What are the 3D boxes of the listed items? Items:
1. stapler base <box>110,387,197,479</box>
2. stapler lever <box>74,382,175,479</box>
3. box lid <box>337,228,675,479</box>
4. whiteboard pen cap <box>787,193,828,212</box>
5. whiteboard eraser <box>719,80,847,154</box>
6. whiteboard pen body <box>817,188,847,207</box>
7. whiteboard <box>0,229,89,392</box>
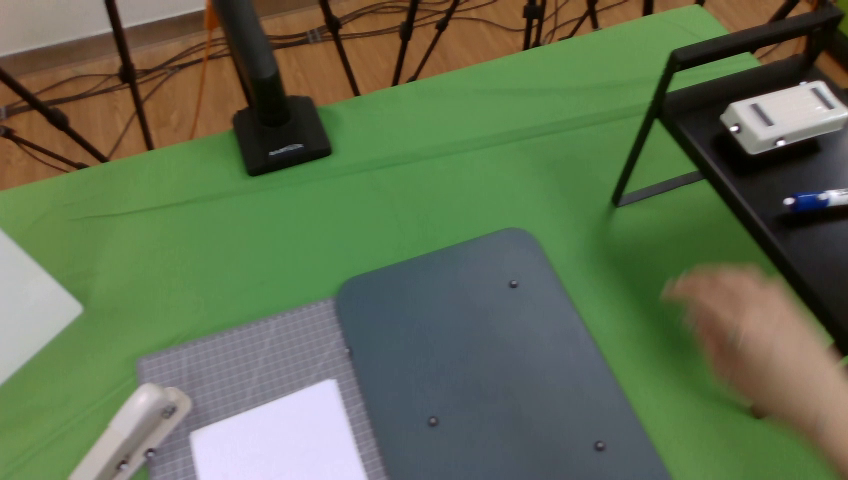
[{"bbox_3d":[-0.293,0.206,0.620,0.041,0.024,0.130,28,64,22],"label":"stapler base"},{"bbox_3d":[-0.295,0.194,0.598,0.026,0.040,0.118,28,64,23],"label":"stapler lever"},{"bbox_3d":[0.074,0.157,0.661,0.264,0.015,0.367,-17,59,-12],"label":"box lid"},{"bbox_3d":[0.356,-0.035,0.561,0.033,0.018,0.018,1,56,-9],"label":"whiteboard pen cap"},{"bbox_3d":[0.359,-0.121,0.609,0.113,0.042,0.055,-17,56,-11],"label":"whiteboard eraser"},{"bbox_3d":[0.416,-0.043,0.568,0.141,0.017,0.017,-6,56,-8],"label":"whiteboard pen body"},{"bbox_3d":[-0.550,0.035,0.602,0.142,0.309,0.216,20,57,36],"label":"whiteboard"}]
